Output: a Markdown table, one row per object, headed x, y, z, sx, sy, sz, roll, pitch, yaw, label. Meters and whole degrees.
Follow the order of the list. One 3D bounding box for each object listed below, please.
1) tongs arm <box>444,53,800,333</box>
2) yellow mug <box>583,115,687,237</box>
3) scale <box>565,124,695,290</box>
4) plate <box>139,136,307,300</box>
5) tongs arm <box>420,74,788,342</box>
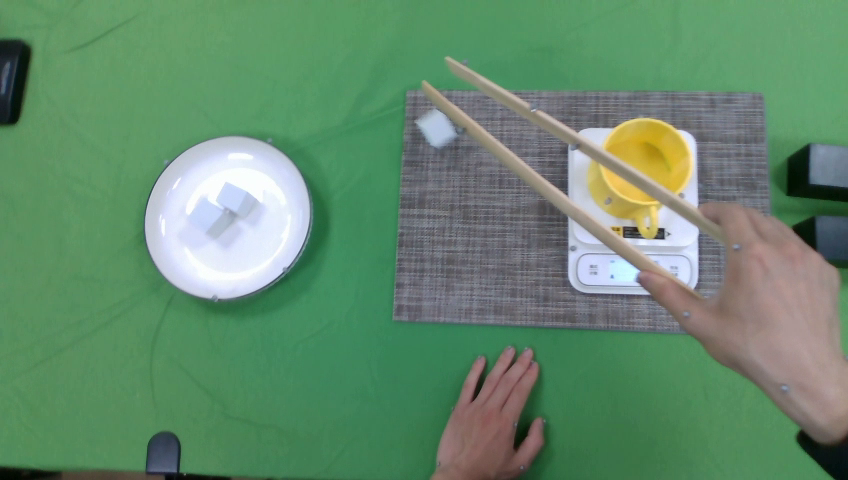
| x | y | z | sx | sy | sz | roll | pitch | yaw | label |
| --- | --- | --- | --- | --- | --- | --- | --- | --- | --- |
| 0.138 | -0.060 | 0.515 | 0.050 | 0.027 | 0.381 | -46 | 61 | -10 | tongs arm |
| 0.239 | -0.069 | 0.685 | 0.100 | 0.064 | 0.130 | -9 | 80 | 1 | yellow mug |
| 0.246 | -0.041 | 0.727 | 0.148 | 0.032 | 0.200 | 1 | 80 | 4 | scale |
| -0.246 | -0.026 | 0.758 | 0.207 | 0.039 | 0.206 | -1 | 79 | 3 | plate |
| 0.121 | -0.044 | 0.512 | 0.028 | 0.028 | 0.383 | -40 | 60 | -11 | tongs arm |
